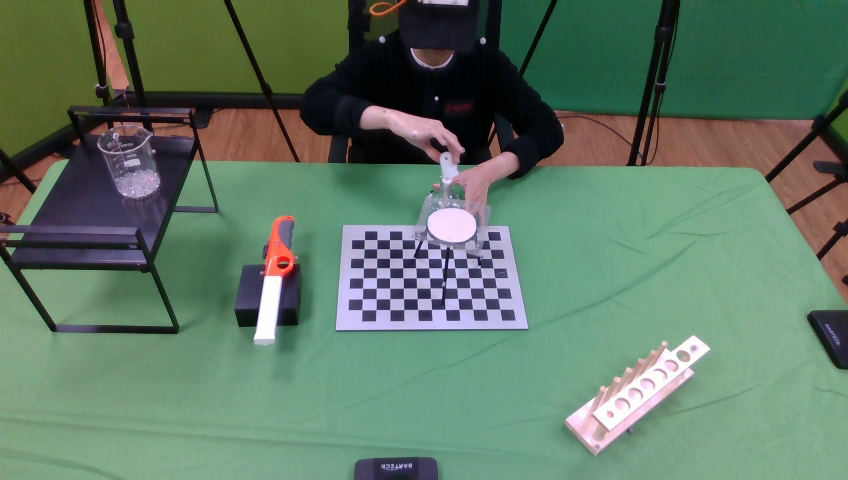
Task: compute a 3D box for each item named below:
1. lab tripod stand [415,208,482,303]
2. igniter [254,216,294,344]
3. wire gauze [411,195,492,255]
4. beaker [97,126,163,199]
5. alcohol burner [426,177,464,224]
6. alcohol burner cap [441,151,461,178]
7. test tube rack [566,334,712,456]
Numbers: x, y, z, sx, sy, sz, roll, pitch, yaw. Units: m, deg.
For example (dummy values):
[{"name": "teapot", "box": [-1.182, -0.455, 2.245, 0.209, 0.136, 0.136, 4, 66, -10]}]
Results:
[{"name": "lab tripod stand", "box": [0.043, 0.018, 1.097, 0.148, 0.132, 0.147, 1, 46, 0]}, {"name": "igniter", "box": [-0.258, 0.059, 1.051, 0.057, 0.025, 0.274, 2, 48, -6]}, {"name": "wire gauze", "box": [0.049, -0.031, 1.051, 0.125, 0.011, 0.121, 11, 47, 9]}, {"name": "beaker", "box": [-0.468, -0.124, 0.978, 0.084, 0.101, 0.073, -25, 53, -26]}, {"name": "alcohol burner", "box": [0.044, -0.090, 1.221, 0.078, 0.119, 0.077, 3, 47, -3]}, {"name": "alcohol burner cap", "box": [0.048, -0.143, 1.129, 0.034, 0.048, 0.033, -11, 32, 7]}, {"name": "test tube rack", "box": [0.338, 0.228, 0.950, 0.242, 0.085, 0.066, -26, 52, -26]}]
